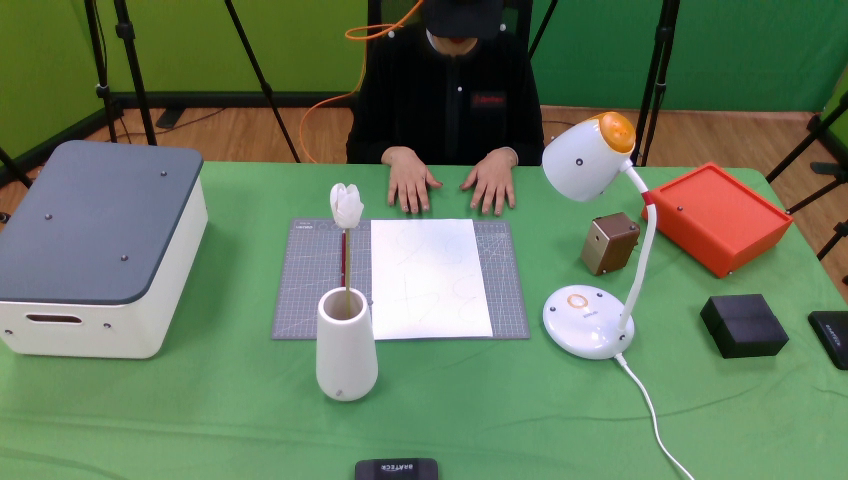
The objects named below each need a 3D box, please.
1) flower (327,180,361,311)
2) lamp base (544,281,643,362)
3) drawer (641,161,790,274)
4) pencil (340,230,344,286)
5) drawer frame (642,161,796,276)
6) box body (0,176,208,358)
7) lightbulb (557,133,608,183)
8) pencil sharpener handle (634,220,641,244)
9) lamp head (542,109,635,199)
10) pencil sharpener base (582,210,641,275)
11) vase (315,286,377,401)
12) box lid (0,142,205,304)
[{"bbox_3d":[-0.111,0.087,0.867,0.044,0.363,0.038,22,33,35],"label":"flower"},{"bbox_3d":[0.303,0.095,1.014,0.161,0.181,0.178,-24,54,-24],"label":"lamp base"},{"bbox_3d":[0.596,-0.051,1.246,0.194,0.073,0.210,-23,53,-25],"label":"drawer"},{"bbox_3d":[-0.154,0.044,1.148,0.012,0.012,0.192,-2,44,-5],"label":"pencil"},{"bbox_3d":[0.599,-0.051,1.244,0.202,0.083,0.212,-24,52,-25],"label":"drawer frame"},{"bbox_3d":[-0.546,0.017,1.045,0.254,0.161,0.361,2,46,-2],"label":"box body"},{"bbox_3d":[0.243,-0.127,0.917,0.060,0.108,0.059,6,67,-14],"label":"lightbulb"},{"bbox_3d":[0.405,-0.015,1.162,0.031,0.068,0.035,-15,45,-18],"label":"pencil sharpener handle"},{"bbox_3d":[0.253,-0.131,0.893,0.113,0.123,0.112,10,66,-24],"label":"lamp head"},{"bbox_3d":[0.357,0.005,1.156,0.077,0.107,0.061,-15,48,-18],"label":"pencil sharpener base"},{"bbox_3d":[-0.119,0.159,0.911,0.098,0.201,0.097,2,47,-2],"label":"vase"},{"bbox_3d":[-0.534,-0.044,0.995,0.263,0.015,0.369,3,45,-3],"label":"box lid"}]
